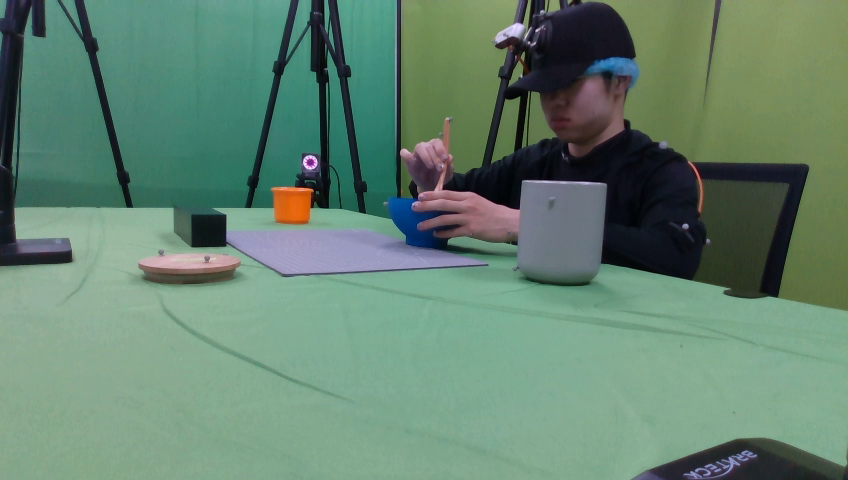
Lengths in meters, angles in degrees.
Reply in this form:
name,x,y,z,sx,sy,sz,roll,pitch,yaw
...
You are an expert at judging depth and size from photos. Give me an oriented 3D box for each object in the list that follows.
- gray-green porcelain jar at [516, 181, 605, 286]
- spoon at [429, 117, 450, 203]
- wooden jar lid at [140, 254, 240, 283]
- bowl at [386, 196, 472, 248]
name,x,y,z,sx,sy,sz,roll,pitch,yaw
gray-green porcelain jar,0.172,-0.010,0.768,0.106,0.126,0.106,2,7,0
spoon,0.029,-0.118,1.035,0.022,0.193,0.041,16,-14,-28
wooden jar lid,-0.269,0.032,0.698,0.108,0.020,0.108,2,5,0
bowl,0.006,-0.030,1.048,0.151,0.077,0.151,6,5,0
